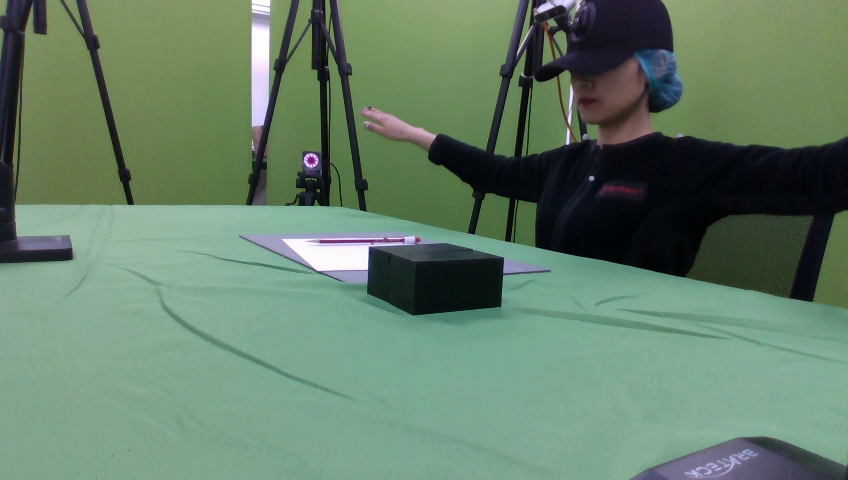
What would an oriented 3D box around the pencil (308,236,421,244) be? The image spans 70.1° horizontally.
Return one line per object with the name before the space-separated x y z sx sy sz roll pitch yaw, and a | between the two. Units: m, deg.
pencil | -0.093 0.000 0.982 0.195 0.012 0.012 -1 8 -27
